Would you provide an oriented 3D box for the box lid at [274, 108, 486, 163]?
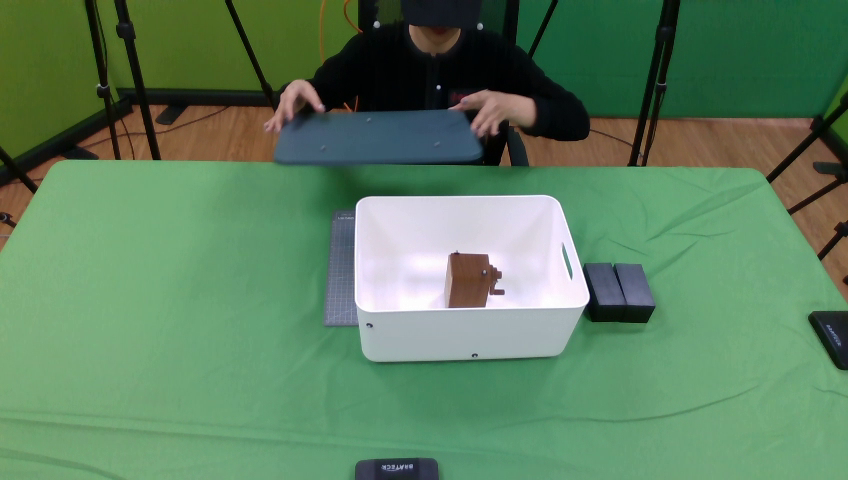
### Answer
[{"bbox_3d":[-0.081,-0.200,1.138,0.372,0.015,0.261,-2,29,-6],"label":"box lid"}]

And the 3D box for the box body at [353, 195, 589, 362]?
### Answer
[{"bbox_3d":[0.065,0.066,1.040,0.364,0.161,0.252,-1,46,-5],"label":"box body"}]

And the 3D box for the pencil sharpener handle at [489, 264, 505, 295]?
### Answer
[{"bbox_3d":[0.129,0.071,1.052,0.031,0.068,0.036,1,43,-4],"label":"pencil sharpener handle"}]

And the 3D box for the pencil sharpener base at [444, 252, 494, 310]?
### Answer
[{"bbox_3d":[0.078,0.078,1.058,0.077,0.107,0.061,1,45,-4],"label":"pencil sharpener base"}]
